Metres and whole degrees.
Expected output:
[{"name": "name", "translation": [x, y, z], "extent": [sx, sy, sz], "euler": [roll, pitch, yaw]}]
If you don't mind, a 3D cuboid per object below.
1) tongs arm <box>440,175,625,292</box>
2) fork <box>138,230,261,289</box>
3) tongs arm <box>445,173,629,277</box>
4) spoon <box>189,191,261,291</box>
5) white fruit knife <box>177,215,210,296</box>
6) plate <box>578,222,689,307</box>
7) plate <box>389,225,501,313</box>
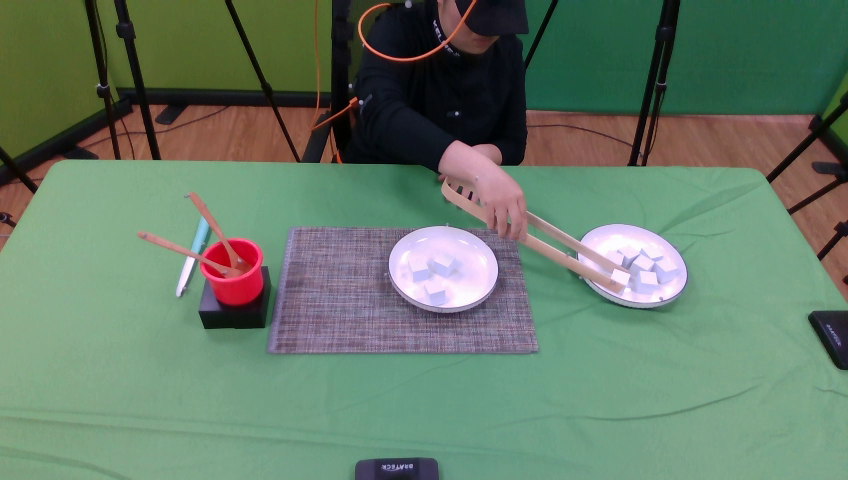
[{"name": "tongs arm", "translation": [0.198, -0.013, 1.128], "extent": [0.384, 0.026, 0.050], "euler": [27, 44, 3]}, {"name": "fork", "translation": [-0.359, 0.032, 0.981], "extent": [0.208, 0.018, 0.028], "euler": [31, 60, -30]}, {"name": "tongs arm", "translation": [0.211, -0.030, 1.150], "extent": [0.387, 0.028, 0.028], "euler": [29, 48, 4]}, {"name": "spoon", "translation": [-0.333, 0.001, 1.012], "extent": [0.041, 0.194, 0.021], "euler": [-34, 15, -25]}, {"name": "white fruit knife", "translation": [-0.434, 0.025, 1.148], "extent": [0.027, 0.016, 0.206], "euler": [-18, 45, 18]}, {"name": "plate", "translation": [0.396, 0.049, 1.164], "extent": [0.209, 0.038, 0.208], "euler": [2, 47, -2]}, {"name": "plate", "translation": [0.038, 0.057, 1.129], "extent": [0.208, 0.039, 0.206], "euler": [2, 46, -2]}]
